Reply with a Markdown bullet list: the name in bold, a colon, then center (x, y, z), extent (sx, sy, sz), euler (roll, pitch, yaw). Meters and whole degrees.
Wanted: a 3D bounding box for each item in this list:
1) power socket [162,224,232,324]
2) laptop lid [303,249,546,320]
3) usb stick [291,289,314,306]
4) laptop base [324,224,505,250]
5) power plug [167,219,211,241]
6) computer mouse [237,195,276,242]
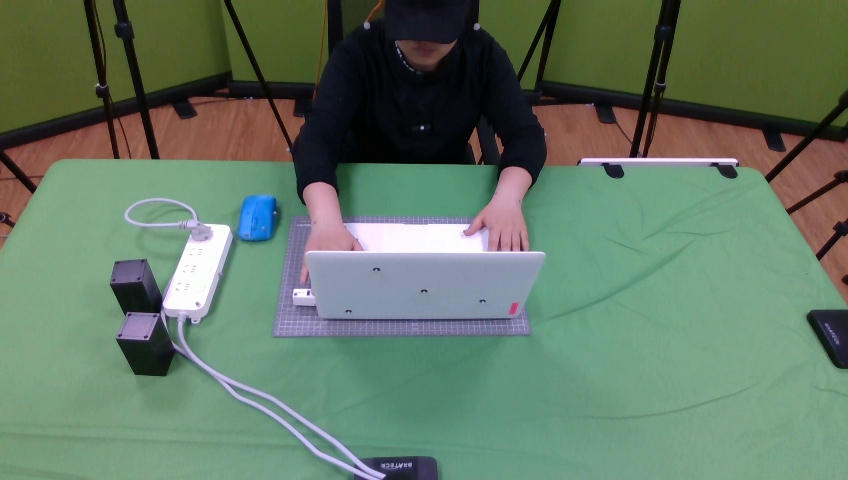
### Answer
- **power socket**: center (-0.410, 0.052, 1.106), extent (0.072, 0.033, 0.225), euler (4, 45, -1)
- **laptop lid**: center (-0.003, 0.077, 0.962), extent (0.357, 0.242, 0.013), euler (1, 58, -5)
- **usb stick**: center (-0.203, 0.101, 1.067), extent (0.059, 0.027, 0.021), euler (4, 44, -7)
- **laptop base**: center (-0.014, 0.055, 1.144), extent (0.355, 0.023, 0.234), euler (0, 42, -4)
- **power plug**: center (-0.438, -0.017, 1.143), extent (0.072, 0.053, 0.035), euler (10, 43, 7)
- **computer mouse**: center (-0.333, -0.047, 1.206), extent (0.063, 0.041, 0.116), euler (3, 51, -5)
